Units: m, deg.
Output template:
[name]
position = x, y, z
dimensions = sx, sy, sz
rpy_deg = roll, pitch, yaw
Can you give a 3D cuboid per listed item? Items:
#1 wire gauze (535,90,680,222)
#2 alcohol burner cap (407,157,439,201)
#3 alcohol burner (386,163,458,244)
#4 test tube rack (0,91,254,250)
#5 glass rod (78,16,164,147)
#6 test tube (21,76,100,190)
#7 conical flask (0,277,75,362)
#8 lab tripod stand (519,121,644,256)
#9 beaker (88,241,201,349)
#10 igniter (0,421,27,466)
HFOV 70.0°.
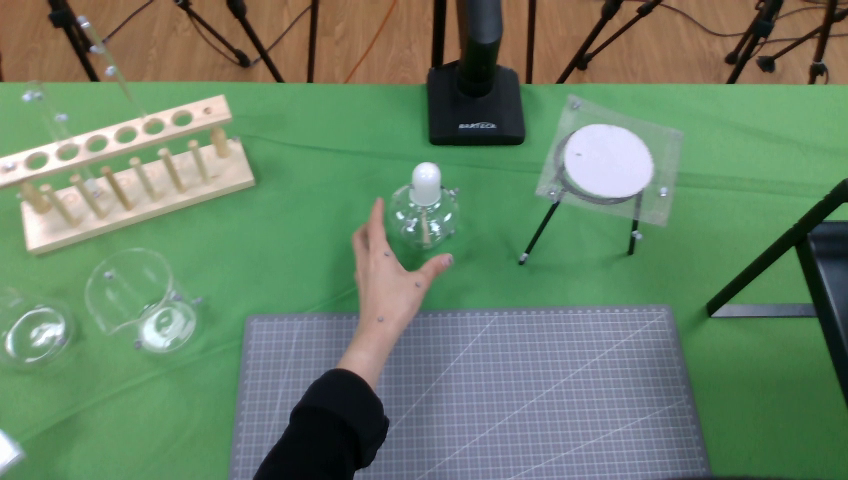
[wire gauze]
position = 0.180, -0.082, 0.581
dimensions = 0.121, 0.011, 0.124
rpy_deg = 19, 64, 5
[alcohol burner cap]
position = 0.000, -0.064, 0.609
dimensions = 0.034, 0.048, 0.033
rpy_deg = 2, 61, -3
[alcohol burner]
position = -0.001, -0.046, 0.641
dimensions = 0.078, 0.120, 0.077
rpy_deg = 2, 60, -3
[test tube rack]
position = -0.319, -0.076, 0.654
dimensions = 0.243, 0.086, 0.066
rpy_deg = -20, 65, -13
[glass rod]
position = -0.295, -0.139, 0.614
dimensions = 0.008, 0.201, 0.008
rpy_deg = -2, 56, 3
[test tube]
position = -0.361, -0.102, 0.610
dimensions = 0.017, 0.151, 0.017
rpy_deg = 2, 55, -2
[conical flask]
position = -0.387, 0.060, 0.559
dimensions = 0.075, 0.123, 0.074
rpy_deg = 1, 62, -2
[lab tripod stand]
position = 0.170, -0.049, 0.639
dimensions = 0.148, 0.132, 0.147
rpy_deg = 2, 61, -3
[beaker]
position = -0.262, 0.060, 0.579
dimensions = 0.074, 0.101, 0.083
rpy_deg = 13, 63, 4
[igniter]
position = -0.440, 0.249, 0.457
dimensions = 0.057, 0.025, 0.276
rpy_deg = 40, 64, 15
